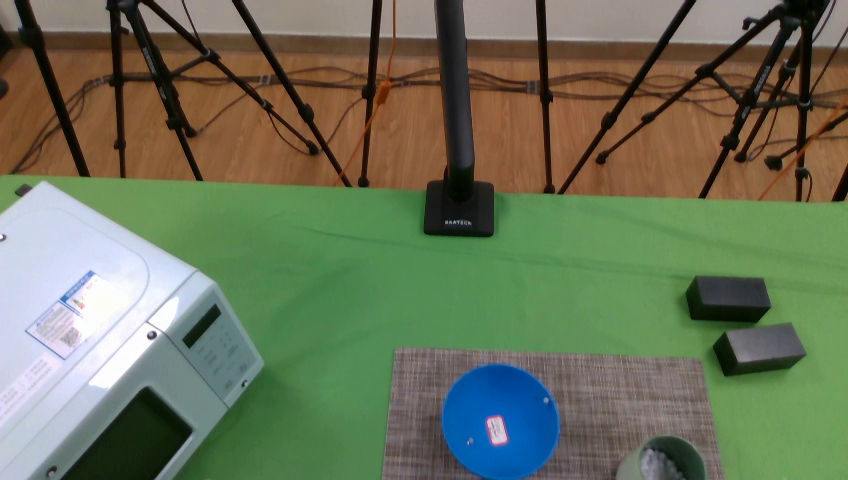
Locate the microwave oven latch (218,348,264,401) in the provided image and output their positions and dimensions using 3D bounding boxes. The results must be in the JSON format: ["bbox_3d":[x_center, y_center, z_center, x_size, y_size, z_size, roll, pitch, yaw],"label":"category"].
[{"bbox_3d":[-0.260,0.185,0.855,0.030,0.030,0.079,28,61,18],"label":"microwave oven latch"}]

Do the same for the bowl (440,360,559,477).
[{"bbox_3d":[0.096,0.244,0.799,0.151,0.077,0.150,-1,55,1],"label":"bowl"}]

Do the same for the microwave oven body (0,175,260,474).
[{"bbox_3d":[-0.482,0.195,0.737,0.324,0.262,0.440,26,61,18],"label":"microwave oven body"}]

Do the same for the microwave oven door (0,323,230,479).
[{"bbox_3d":[-0.379,0.282,0.668,0.039,0.246,0.354,26,60,19],"label":"microwave oven door"}]

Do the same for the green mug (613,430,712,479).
[{"bbox_3d":[0.304,0.294,0.744,0.125,0.106,0.092,18,57,13],"label":"green mug"}]
